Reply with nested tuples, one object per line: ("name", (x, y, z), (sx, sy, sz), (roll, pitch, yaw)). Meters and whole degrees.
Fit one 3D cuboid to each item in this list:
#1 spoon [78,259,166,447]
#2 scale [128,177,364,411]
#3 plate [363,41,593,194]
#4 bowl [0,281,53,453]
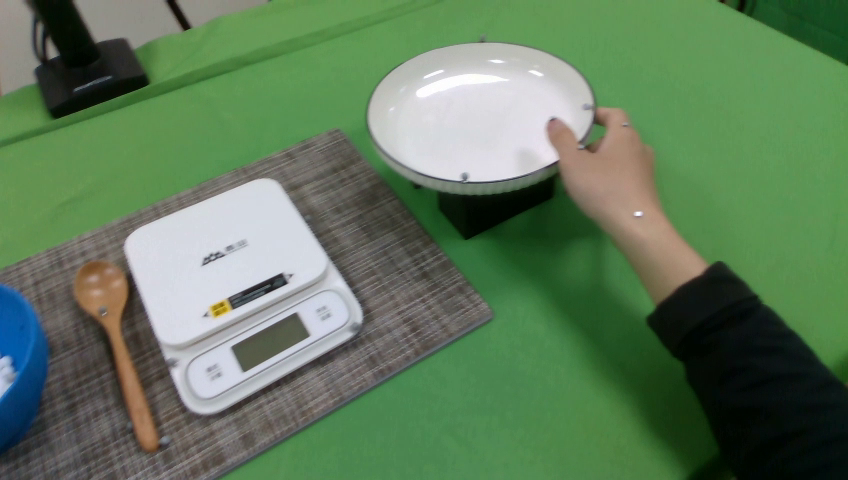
("spoon", (-0.243, 0.085, 0.489), (0.042, 0.022, 0.191), (-16, 48, -29))
("scale", (-0.157, 0.034, 0.519), (0.149, 0.032, 0.198), (-28, 53, -17))
("plate", (0.049, -0.113, 0.562), (0.209, 0.038, 0.207), (-2, 50, 3))
("bowl", (-0.336, 0.110, 0.439), (0.151, 0.077, 0.150), (-2, 49, 3))
